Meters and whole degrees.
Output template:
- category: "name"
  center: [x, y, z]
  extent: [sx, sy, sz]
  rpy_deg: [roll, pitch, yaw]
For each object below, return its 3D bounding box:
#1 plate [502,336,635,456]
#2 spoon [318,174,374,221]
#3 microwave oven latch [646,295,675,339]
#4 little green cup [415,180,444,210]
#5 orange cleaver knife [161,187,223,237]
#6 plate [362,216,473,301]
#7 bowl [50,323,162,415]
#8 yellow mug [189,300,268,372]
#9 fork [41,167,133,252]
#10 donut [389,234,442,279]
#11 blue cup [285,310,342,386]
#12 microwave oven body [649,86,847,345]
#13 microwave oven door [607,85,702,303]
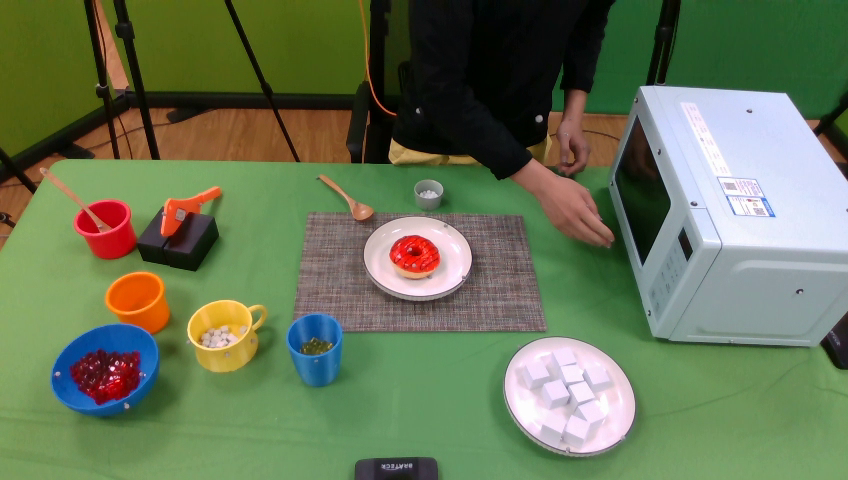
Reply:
- category: "plate"
  center: [0.225, 0.248, 0.963]
  extent: [0.208, 0.039, 0.206]
  rpy_deg: [2, 46, -2]
- category: "spoon"
  center: [-0.168, -0.094, 1.274]
  extent: [0.041, 0.022, 0.192]
  rpy_deg: [-38, 56, -15]
- category: "microwave oven latch"
  center: [0.412, 0.134, 1.061]
  extent: [0.030, 0.029, 0.078]
  rpy_deg: [4, 45, 1]
- category: "little green cup"
  center: [0.010, -0.094, 1.278]
  extent: [0.061, 0.039, 0.061]
  rpy_deg: [2, 48, -2]
- category: "orange cleaver knife"
  center: [-0.448, -0.058, 1.181]
  extent: [0.012, 0.077, 0.211]
  rpy_deg: [13, 17, 6]
- category: "plate"
  center: [-0.012, 0.038, 1.144]
  extent: [0.209, 0.038, 0.208]
  rpy_deg: [2, 46, -2]
- category: "bowl"
  center: [-0.472, 0.209, 0.924]
  extent: [0.151, 0.077, 0.150]
  rpy_deg: [2, 45, -2]
- category: "yellow mug"
  center: [-0.316, 0.148, 1.002]
  extent: [0.131, 0.064, 0.099]
  rpy_deg: [-32, 56, -31]
- category: "fork"
  center: [-0.624, -0.056, 1.121]
  extent: [0.208, 0.018, 0.028]
  rpy_deg: [50, 51, -15]
- category: "donut"
  center: [-0.016, 0.031, 1.135]
  extent: [0.099, 0.048, 0.098]
  rpy_deg: [4, 44, -3]
- category: "blue cup"
  center: [-0.169, 0.179, 0.958]
  extent: [0.093, 0.101, 0.092]
  rpy_deg: [1, 44, -1]
- category: "microwave oven body"
  center: [0.568, -0.053, 1.118]
  extent: [0.326, 0.261, 0.439]
  rpy_deg: [2, 45, -1]
- category: "microwave oven door"
  center: [0.424, -0.094, 1.141]
  extent: [0.039, 0.245, 0.353]
  rpy_deg: [2, 46, -1]
